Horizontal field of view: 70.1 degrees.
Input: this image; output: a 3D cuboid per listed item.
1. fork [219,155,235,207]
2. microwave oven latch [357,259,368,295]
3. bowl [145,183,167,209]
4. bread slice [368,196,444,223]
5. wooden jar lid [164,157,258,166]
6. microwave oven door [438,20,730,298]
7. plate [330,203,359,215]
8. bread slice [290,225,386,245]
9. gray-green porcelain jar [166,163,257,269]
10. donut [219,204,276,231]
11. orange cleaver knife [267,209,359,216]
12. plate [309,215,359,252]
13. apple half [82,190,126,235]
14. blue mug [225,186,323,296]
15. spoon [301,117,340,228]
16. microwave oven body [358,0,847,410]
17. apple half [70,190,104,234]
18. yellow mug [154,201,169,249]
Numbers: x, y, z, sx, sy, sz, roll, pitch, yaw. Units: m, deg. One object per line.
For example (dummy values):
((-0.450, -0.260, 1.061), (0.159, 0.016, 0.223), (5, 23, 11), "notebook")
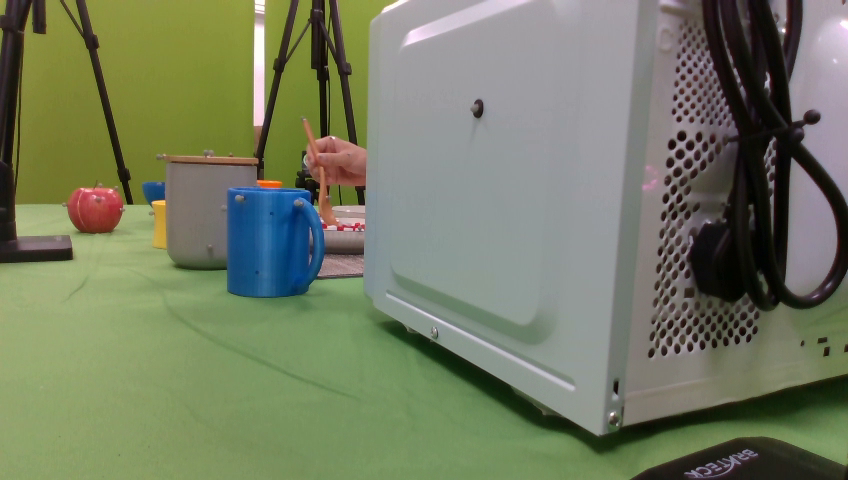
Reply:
((-0.459, -0.134, 1.415), (0.028, 0.018, 0.207), (-1, -34, -25), "fork")
((-0.019, 0.031, 0.529), (0.079, 0.029, 0.030), (-1, 7, -26), "microwave oven latch")
((-0.459, -0.068, 1.175), (0.151, 0.077, 0.151), (3, 7, 0), "bowl")
((-0.040, -0.057, 1.141), (0.107, 0.018, 0.133), (-8, -8, -39), "bread slice")
((-0.261, -0.093, 0.746), (0.108, 0.020, 0.108), (0, 9, 0), "wooden jar lid")
((0.181, -0.076, 0.618), (0.358, 0.243, 0.039), (-2, 8, -28), "microwave oven door")
((-0.102, -0.053, 1.299), (0.209, 0.038, 0.209), (2, 8, 0), "plate")
((-0.124, -0.009, 0.938), (0.131, 0.019, 0.105), (5, 8, 31), "bread slice")
((-0.263, -0.031, 0.754), (0.106, 0.126, 0.106), (2, 7, 0), "gray-green porcelain jar")
((-0.316, -0.039, 1.083), (0.099, 0.048, 0.099), (3, 7, 0), "donut")
((-0.259, -0.064, 1.423), (0.212, 0.012, 0.077), (-4, 3, -30), "orange cleaver knife")
((-0.130, -0.011, 0.945), (0.208, 0.039, 0.207), (2, 8, 0), "plate")
((-0.517, -0.046, 0.994), (0.032, 0.081, 0.081), (0, 6, 26), "apple half")
((-0.148, 0.000, 0.618), (0.116, 0.106, 0.083), (7, 9, 33), "blue mug")
((-0.163, -0.106, 0.940), (0.021, 0.193, 0.042), (-19, -14, 17), "spoon")
((0.210, -0.051, 0.471), (0.444, 0.260, 0.324), (-1, 7, -28), "microwave oven body")
((-0.552, -0.047, 1.010), (0.053, 0.074, 0.081), (-1, 9, 26), "apple half")
((-0.337, -0.022, 0.899), (0.130, 0.064, 0.100), (8, 10, 34), "yellow mug")
